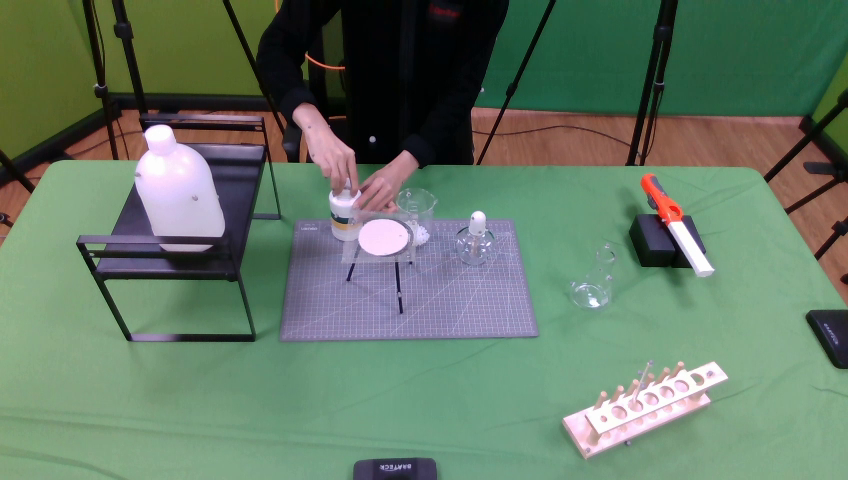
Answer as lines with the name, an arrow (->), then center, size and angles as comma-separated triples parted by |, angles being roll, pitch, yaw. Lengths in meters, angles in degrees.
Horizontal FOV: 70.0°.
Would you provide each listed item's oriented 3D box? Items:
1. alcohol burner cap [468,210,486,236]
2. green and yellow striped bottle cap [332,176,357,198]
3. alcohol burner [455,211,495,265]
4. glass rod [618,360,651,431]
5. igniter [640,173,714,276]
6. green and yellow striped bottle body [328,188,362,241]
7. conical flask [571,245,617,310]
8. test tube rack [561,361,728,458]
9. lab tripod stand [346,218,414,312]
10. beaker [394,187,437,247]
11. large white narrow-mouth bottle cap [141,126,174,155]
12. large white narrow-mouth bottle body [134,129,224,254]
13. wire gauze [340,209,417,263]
alcohol burner cap -> 0.099, -0.034, 1.119 | 0.034, 0.048, 0.033 | 0, 53, 0
green and yellow striped bottle cap -> -0.149, -0.100, 1.133 | 0.045, 0.020, 0.045 | 3, 45, -3
alcohol burner -> 0.097, -0.010, 1.147 | 0.078, 0.120, 0.077 | 1, 47, 0
glass rod -> 0.298, 0.227, 0.865 | 0.008, 0.201, 0.008 | -1, 48, 2
igniter -> 0.495, -0.039, 1.204 | 0.057, 0.025, 0.274 | -2, 47, -12
green and yellow striped bottle body -> -0.152, -0.060, 1.172 | 0.063, 0.120, 0.063 | 2, 46, -2
conical flask -> 0.313, 0.064, 1.089 | 0.075, 0.122, 0.075 | 2, 46, -2
test tube rack -> 0.341, 0.248, 0.940 | 0.243, 0.085, 0.066 | -15, 48, -18
lab tripod stand -> -0.070, 0.037, 1.075 | 0.148, 0.132, 0.147 | 1, 47, -1
beaker -> -0.018, -0.042, 1.179 | 0.084, 0.101, 0.073 | -8, 48, -13
large white narrow-mouth bottle cap -> -0.356, -0.133, 0.811 | 0.038, 0.024, 0.037 | 2, 48, -1
large white narrow-mouth bottle body -> -0.358, -0.075, 0.875 | 0.102, 0.195, 0.101 | 1, 48, -1
wire gauze -> -0.074, -0.006, 1.023 | 0.121, 0.011, 0.124 | 3, 46, 0
